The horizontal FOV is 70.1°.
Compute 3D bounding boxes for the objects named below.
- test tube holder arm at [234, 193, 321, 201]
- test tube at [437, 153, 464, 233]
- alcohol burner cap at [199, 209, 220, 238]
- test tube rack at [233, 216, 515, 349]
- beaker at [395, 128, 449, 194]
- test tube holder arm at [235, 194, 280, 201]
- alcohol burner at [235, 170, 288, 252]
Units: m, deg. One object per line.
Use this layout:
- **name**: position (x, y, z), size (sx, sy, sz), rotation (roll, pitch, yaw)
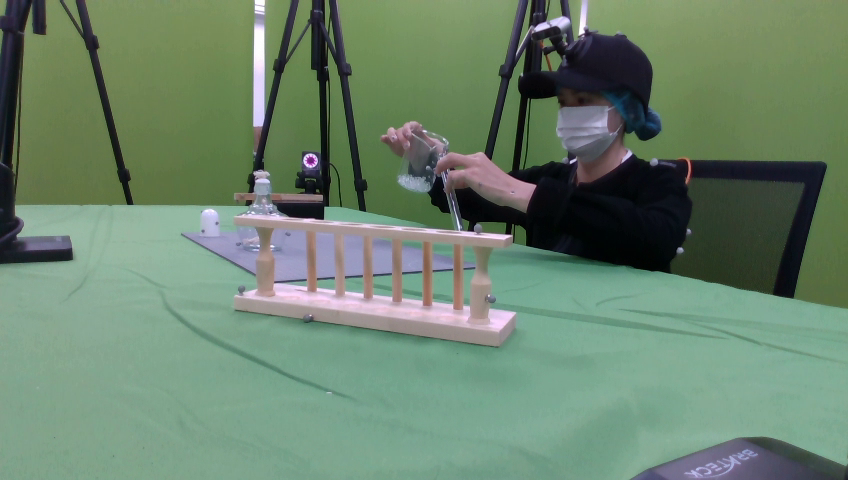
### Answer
- **test tube holder arm**: position (-0.299, -0.088, 1.248), size (0.179, 0.015, 0.013), rotation (-1, 16, -30)
- **test tube**: position (0.043, -0.076, 0.994), size (0.017, 0.150, 0.017), rotation (-11, -22, -4)
- **alcohol burner cap**: position (-0.356, -0.027, 1.002), size (0.034, 0.048, 0.034), rotation (2, 7, 0)
- **test tube rack**: position (-0.045, 0.029, 0.526), size (0.241, 0.085, 0.067), rotation (5, 8, 19)
- **beaker**: position (-0.006, -0.141, 1.097), size (0.074, 0.100, 0.083), rotation (14, 26, -16)
- **test tube holder arm**: position (-0.336, -0.086, 1.221), size (0.088, 0.015, 0.010), rotation (-1, 16, -29)
- **alcohol burner**: position (-0.236, -0.042, 0.882), size (0.078, 0.119, 0.078), rotation (2, 9, 0)
